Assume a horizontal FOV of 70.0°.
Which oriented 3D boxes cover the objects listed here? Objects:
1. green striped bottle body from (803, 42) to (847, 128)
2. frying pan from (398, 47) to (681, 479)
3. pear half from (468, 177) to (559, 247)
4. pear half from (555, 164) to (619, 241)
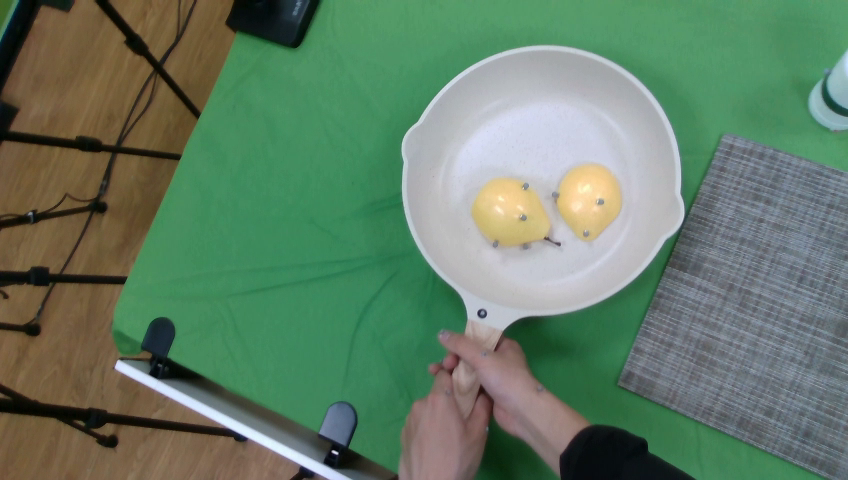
[{"bbox_3d":[0.429,-0.159,0.597,0.063,0.120,0.063,-2,80,13],"label":"green striped bottle body"},{"bbox_3d":[0.083,0.032,0.649,0.305,0.103,0.486,19,78,14],"label":"frying pan"},{"bbox_3d":[0.104,-0.024,0.677,0.109,0.056,0.076,30,95,10],"label":"pear half"},{"bbox_3d":[0.181,-0.044,0.675,0.070,0.031,0.087,1,79,16],"label":"pear half"}]
